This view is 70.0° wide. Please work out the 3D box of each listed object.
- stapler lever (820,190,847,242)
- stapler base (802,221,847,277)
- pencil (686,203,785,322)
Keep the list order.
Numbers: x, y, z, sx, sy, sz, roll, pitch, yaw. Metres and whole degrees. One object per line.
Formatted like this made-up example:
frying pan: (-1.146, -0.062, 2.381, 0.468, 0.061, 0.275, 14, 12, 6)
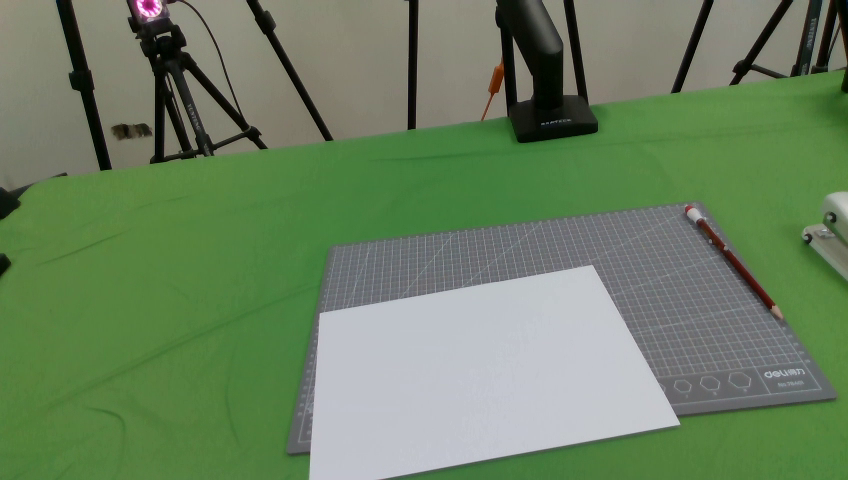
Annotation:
stapler lever: (0.423, -0.005, 0.576, 0.027, 0.040, 0.117, -12, 37, 1)
stapler base: (0.426, 0.014, 0.593, 0.041, 0.025, 0.129, -12, 37, 1)
pencil: (0.315, 0.017, 0.622, 0.012, 0.012, 0.192, -10, 37, 0)
